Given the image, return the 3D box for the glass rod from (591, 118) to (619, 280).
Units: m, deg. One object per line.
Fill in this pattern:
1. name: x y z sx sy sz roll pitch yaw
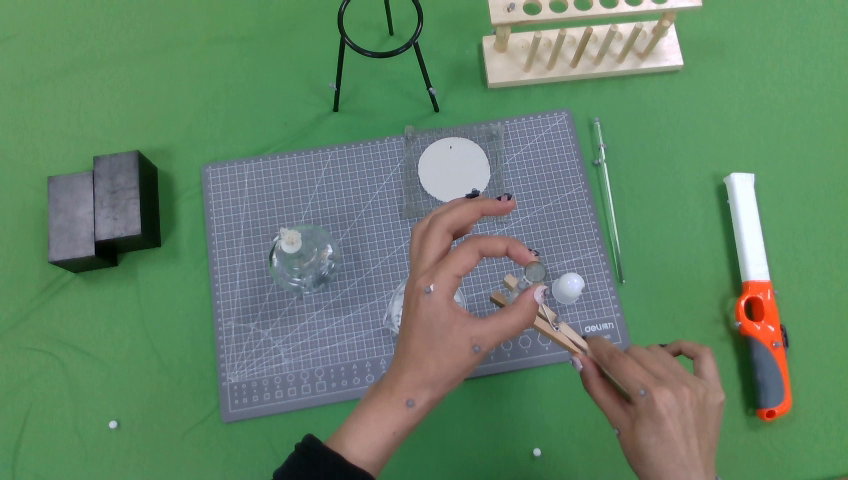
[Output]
1. glass rod: 0.213 -0.050 0.712 0.008 0.008 0.198 -4 78 -2

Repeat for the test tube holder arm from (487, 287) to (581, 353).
1. test tube holder arm: 0.092 0.067 0.502 0.087 0.015 0.010 31 78 13

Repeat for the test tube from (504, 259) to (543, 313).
1. test tube: 0.075 0.039 0.474 0.017 0.151 0.017 0 75 2

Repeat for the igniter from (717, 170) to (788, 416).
1. igniter: 0.366 0.053 0.677 0.057 0.025 0.275 1 75 -10

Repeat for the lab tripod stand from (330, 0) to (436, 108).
1. lab tripod stand: -0.051 -0.213 0.690 0.148 0.132 0.147 0 77 0

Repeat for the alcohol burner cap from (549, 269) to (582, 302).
1. alcohol burner cap: 0.158 0.048 0.666 0.034 0.048 0.033 0 74 0

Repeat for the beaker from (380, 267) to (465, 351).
1. beaker: -0.001 0.077 0.628 0.084 0.101 0.073 -17 75 -4

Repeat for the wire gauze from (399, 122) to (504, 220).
1. wire gauze: 0.033 -0.084 0.719 0.125 0.011 0.121 2 76 -1

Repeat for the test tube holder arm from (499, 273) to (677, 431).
1. test tube holder arm: 0.130 0.089 0.493 0.177 0.015 0.013 40 81 14

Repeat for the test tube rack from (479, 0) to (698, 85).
1. test tube rack: 0.192 -0.247 0.725 0.242 0.085 0.066 -6 75 -2

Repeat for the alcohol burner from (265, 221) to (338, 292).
1. alcohol burner: -0.133 0.013 0.636 0.078 0.120 0.077 -1 74 2
